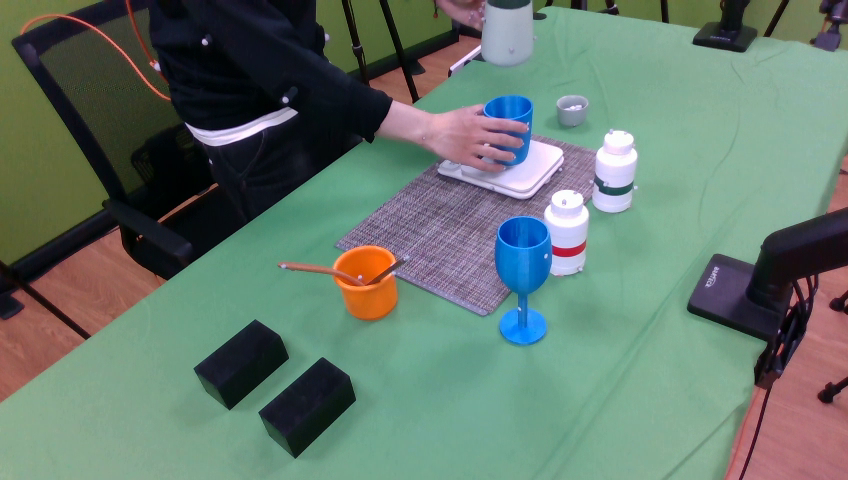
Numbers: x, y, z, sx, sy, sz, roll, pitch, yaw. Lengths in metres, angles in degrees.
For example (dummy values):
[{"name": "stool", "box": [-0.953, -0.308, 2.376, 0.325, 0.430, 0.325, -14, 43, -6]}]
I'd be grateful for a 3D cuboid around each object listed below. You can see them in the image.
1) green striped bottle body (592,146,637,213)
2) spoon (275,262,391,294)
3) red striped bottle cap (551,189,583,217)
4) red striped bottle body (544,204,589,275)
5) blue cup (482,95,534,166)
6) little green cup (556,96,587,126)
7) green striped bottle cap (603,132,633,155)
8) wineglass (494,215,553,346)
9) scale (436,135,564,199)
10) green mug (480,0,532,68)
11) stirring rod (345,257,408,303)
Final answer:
[{"name": "green striped bottle body", "box": [0.307, -0.108, 0.976, 0.063, 0.120, 0.063, -4, 41, 4]}, {"name": "spoon", "box": [-0.120, 0.050, 0.830, 0.041, 0.195, 0.021, 31, 97, 45]}, {"name": "red striped bottle cap", "box": [0.200, -0.052, 0.843, 0.044, 0.018, 0.044, -2, 42, 3]}, {"name": "red striped bottle body", "box": [0.206, -0.011, 0.877, 0.063, 0.120, 0.062, -5, 41, 4]}, {"name": "blue cup", "box": [0.149, -0.187, 1.052, 0.092, 0.101, 0.092, -7, 40, 6]}, {"name": "little green cup", "box": [0.295, -0.258, 1.214, 0.061, 0.039, 0.061, -5, 41, 5]}, {"name": "green striped bottle cap", "box": [0.302, -0.149, 0.939, 0.044, 0.020, 0.044, -3, 40, 3]}, {"name": "wineglass", "box": [0.127, 0.055, 0.770, 0.074, 0.173, 0.073, -4, 40, 4]}, {"name": "scale", "box": [0.137, -0.142, 1.101, 0.199, 0.032, 0.149, 22, 48, 30]}, {"name": "green mug", "box": [0.139, -0.375, 1.067, 0.093, 0.105, 0.124, -17, 45, -13]}, {"name": "stirring rod", "box": [-0.067, 0.056, 0.814, 0.014, 0.175, 0.006, -22, 81, -38]}]
